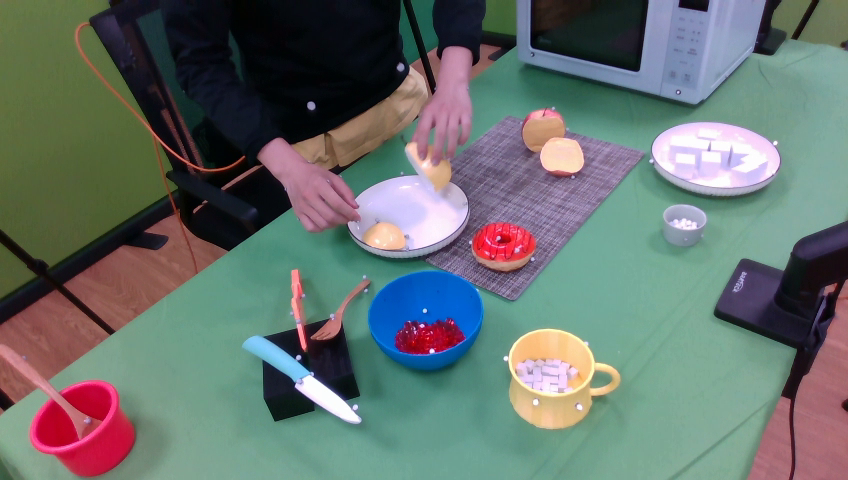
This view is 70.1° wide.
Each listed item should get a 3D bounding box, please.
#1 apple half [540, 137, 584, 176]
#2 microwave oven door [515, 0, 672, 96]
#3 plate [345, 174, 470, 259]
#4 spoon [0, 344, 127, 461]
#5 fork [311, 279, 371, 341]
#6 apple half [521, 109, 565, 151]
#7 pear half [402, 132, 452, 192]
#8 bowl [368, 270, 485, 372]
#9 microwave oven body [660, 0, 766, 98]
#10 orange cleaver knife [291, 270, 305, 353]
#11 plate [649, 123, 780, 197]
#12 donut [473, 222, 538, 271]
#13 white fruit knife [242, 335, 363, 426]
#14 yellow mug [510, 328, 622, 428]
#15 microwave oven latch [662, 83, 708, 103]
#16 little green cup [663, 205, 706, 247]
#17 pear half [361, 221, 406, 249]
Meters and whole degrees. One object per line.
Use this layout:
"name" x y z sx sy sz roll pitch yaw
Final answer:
"apple half" 0.247 -0.146 1.089 0.081 0.033 0.081 -1 65 4
"microwave oven door" 0.343 -0.455 1.259 0.353 0.245 0.039 26 51 33
"plate" -0.026 -0.037 1.004 0.209 0.038 0.208 -4 40 4
"spoon" -0.433 0.191 0.721 0.194 0.021 0.042 47 54 -7
"fork" -0.108 0.092 0.832 0.028 0.019 0.207 -6 19 15
"apple half" 0.224 -0.212 1.145 0.080 0.075 0.053 -6 36 9
"pear half" 0.005 -0.138 0.983 0.056 0.110 0.076 -42 25 -12
"bowl" 0.007 0.118 0.791 0.151 0.077 0.150 -5 40 4
"microwave oven body" 0.472 -0.513 1.317 0.438 0.261 0.327 26 51 34
"orange cleaver knife" -0.175 0.094 0.844 0.012 0.077 0.210 -11 14 -10
"plate" 0.497 -0.135 1.046 0.207 0.039 0.206 -4 40 4
"donut" 0.123 0.008 0.923 0.099 0.048 0.098 -3 38 3
"white fruit knife" -0.148 0.166 0.730 0.206 0.016 0.027 26 80 31
"yellow mug" 0.169 0.164 0.722 0.130 0.064 0.099 0 40 8
"microwave oven latch" 0.517 -0.296 1.204 0.078 0.029 0.030 27 52 35
"little green cup" 0.396 -0.021 0.927 0.061 0.039 0.061 -4 40 4
"pear half" -0.063 -0.013 0.960 0.071 0.031 0.087 6 25 -22
